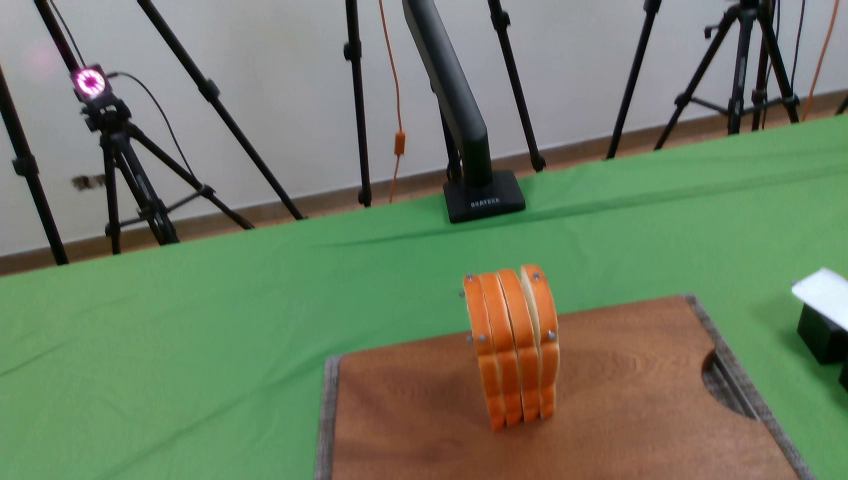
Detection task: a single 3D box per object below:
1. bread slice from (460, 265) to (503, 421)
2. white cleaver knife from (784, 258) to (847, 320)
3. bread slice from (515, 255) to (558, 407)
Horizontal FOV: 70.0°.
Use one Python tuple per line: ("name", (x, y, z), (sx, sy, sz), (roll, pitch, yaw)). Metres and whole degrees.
("bread slice", (0.055, 0.091, 0.593), (0.018, 0.135, 0.106), (-12, 34, 2))
("white cleaver knife", (0.451, 0.097, 0.538), (0.066, 0.022, 0.283), (-20, 39, -10))
("bread slice", (0.108, 0.082, 0.591), (0.019, 0.133, 0.104), (-7, 37, -2))
